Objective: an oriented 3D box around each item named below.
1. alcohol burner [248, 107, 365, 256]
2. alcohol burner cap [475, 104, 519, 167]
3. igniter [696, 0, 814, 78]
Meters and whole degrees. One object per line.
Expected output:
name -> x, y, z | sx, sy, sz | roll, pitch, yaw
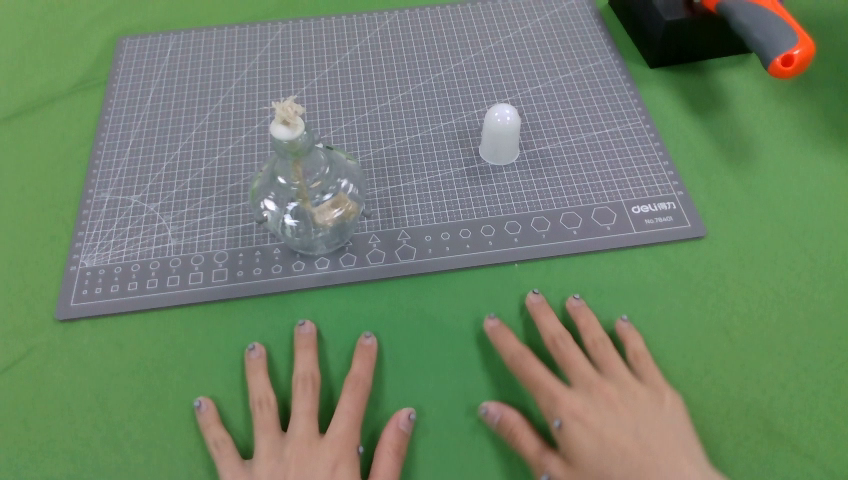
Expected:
alcohol burner -> -0.079, -0.042, 0.393 | 0.078, 0.120, 0.077 | -1, 57, 2
alcohol burner cap -> 0.057, -0.083, 0.462 | 0.034, 0.048, 0.033 | 1, 55, -1
igniter -> 0.243, -0.228, 0.513 | 0.057, 0.025, 0.273 | -12, 54, -4
